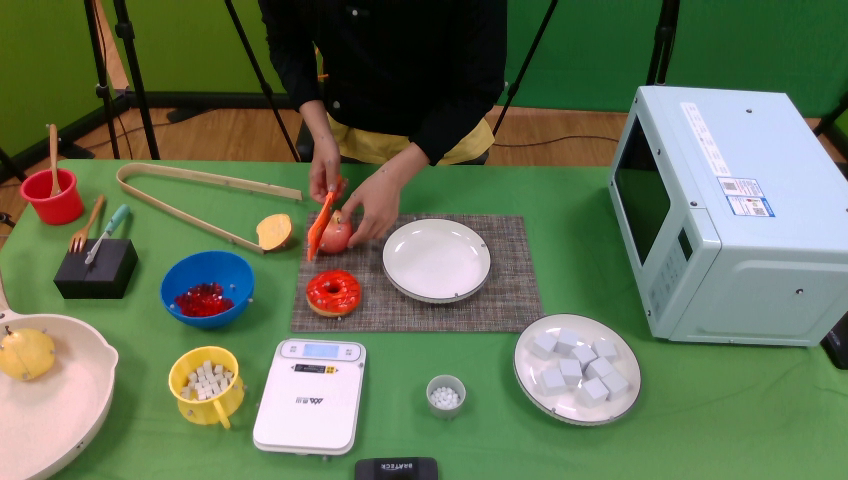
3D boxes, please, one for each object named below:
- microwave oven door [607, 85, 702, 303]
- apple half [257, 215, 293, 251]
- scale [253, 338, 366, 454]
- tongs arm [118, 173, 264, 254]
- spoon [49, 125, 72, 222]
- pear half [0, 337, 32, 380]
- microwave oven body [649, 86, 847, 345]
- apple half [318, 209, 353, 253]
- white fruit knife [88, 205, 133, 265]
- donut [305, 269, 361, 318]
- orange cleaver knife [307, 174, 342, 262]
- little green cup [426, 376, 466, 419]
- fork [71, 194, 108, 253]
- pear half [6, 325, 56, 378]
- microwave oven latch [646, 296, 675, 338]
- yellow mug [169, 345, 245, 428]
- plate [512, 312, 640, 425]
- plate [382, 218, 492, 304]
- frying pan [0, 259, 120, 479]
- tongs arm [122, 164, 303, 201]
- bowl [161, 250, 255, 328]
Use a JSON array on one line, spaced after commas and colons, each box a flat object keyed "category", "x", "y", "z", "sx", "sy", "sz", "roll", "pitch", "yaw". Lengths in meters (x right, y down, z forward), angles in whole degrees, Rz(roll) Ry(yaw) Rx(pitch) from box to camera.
[{"category": "microwave oven door", "x": 0.423, "y": -0.094, "z": 1.140, "sx": 0.039, "sy": 0.245, "sz": 0.353, "roll": 2, "pitch": 46, "yaw": -1}, {"category": "apple half", "x": -0.283, "y": -0.009, "z": 1.177, "sx": 0.081, "sy": 0.033, "sz": 0.081, "roll": -8, "pitch": 60, "yaw": 14}, {"category": "scale", "x": -0.175, "y": 0.236, "z": 0.951, "sx": 0.149, "sy": 0.032, "sz": 0.199, "roll": 4, "pitch": 45, "yaw": -1}, {"category": "tongs arm", "x": -0.474, "y": -0.054, "z": 1.212, "sx": 0.386, "sy": 0.028, "sz": 0.028, "roll": 23, "pitch": 56, "yaw": 18}, {"category": "spoon", "x": -0.718, "y": -0.131, "z": 1.189, "sx": 0.041, "sy": 0.021, "sz": 0.193, "roll": -4, "pitch": 90, "yaw": -7}, {"category": "pear half", "x": -0.631, "y": 0.184, "z": 0.921, "sx": 0.070, "sy": 0.088, "sz": 0.031, "roll": 29, "pitch": 49, "yaw": 19}, {"category": "microwave oven body", "x": 0.568, "y": -0.053, "z": 1.118, "sx": 0.326, "sy": 0.261, "sz": 0.439, "roll": 2, "pitch": 45, "yaw": -1}, {"category": "apple half", "x": -0.165, "y": -0.011, "z": 1.156, "sx": 0.053, "sy": 0.075, "sz": 0.080, "roll": 25, "pitch": 40, "yaw": -8}, {"category": "white fruit knife", "x": -0.583, "y": -0.013, "z": 1.129, "sx": 0.016, "sy": 0.027, "sz": 0.206, "roll": -1, "pitch": 32, "yaw": -4}, {"category": "donut", "x": -0.160, "y": 0.094, "z": 1.075, "sx": 0.099, "sy": 0.048, "sz": 0.098, "roll": 4, "pitch": 45, "yaw": -3}, {"category": "orange cleaver knife", "x": -0.195, "y": -0.047, "z": 1.187, "sx": 0.012, "sy": 0.077, "sz": 0.210, "roll": 11, "pitch": 45, "yaw": 4}, {"category": "little green cup", "x": 0.033, "y": 0.248, "z": 0.950, "sx": 0.061, "sy": 0.039, "sz": 0.061, "roll": 2, "pitch": 46, "yaw": -2}, {"category": "fork", "x": -0.634, "y": -0.036, "z": 1.158, "sx": 0.028, "sy": 0.019, "sz": 0.206, "roll": -8, "pitch": 32, "yaw": -8}, {"category": "pear half", "x": -0.608, "y": 0.158, "z": 0.935, "sx": 0.076, "sy": 0.110, "sz": 0.056, "roll": 31, "pitch": 51, "yaw": 20}, {"category": "microwave oven latch", "x": 0.412, "y": 0.134, "z": 1.061, "sx": 0.030, "sy": 0.029, "sz": 0.078, "roll": 4, "pitch": 45, "yaw": 1}, {"category": "yellow mug", "x": -0.322, "y": 0.230, "z": 0.922, "sx": 0.100, "sy": 0.064, "sz": 0.130, "roll": -24, "pitch": 53, "yaw": -25}, {"category": "plate", "x": 0.246, "y": 0.213, "z": 0.999, "sx": 0.208, "sy": 0.039, "sz": 0.206, "roll": 2, "pitch": 46, "yaw": -2}, {"category": "plate", "x": 0.023, "y": 0.042, "z": 1.143, "sx": 0.209, "sy": 0.038, "sz": 0.208, "roll": 2, "pitch": 46, "yaw": -2}, {"category": "frying pan", "x": -0.647, "y": 0.164, "z": 0.936, "sx": 0.307, "sy": 0.103, "sz": 0.485, "roll": -19, "pitch": 58, "yaw": -22}, {"category": "tongs arm", "x": -0.444, "y": -0.113, "z": 1.268, "sx": 0.384, "sy": 0.026, "sz": 0.050, "roll": 12, "pitch": 50, "yaw": 8}, {"category": "bowl", "x": -0.362, "y": 0.098, "z": 1.039, "sx": 0.151, "sy": 0.077, "sz": 0.150, "roll": 2, "pitch": 45, "yaw": -2}]
